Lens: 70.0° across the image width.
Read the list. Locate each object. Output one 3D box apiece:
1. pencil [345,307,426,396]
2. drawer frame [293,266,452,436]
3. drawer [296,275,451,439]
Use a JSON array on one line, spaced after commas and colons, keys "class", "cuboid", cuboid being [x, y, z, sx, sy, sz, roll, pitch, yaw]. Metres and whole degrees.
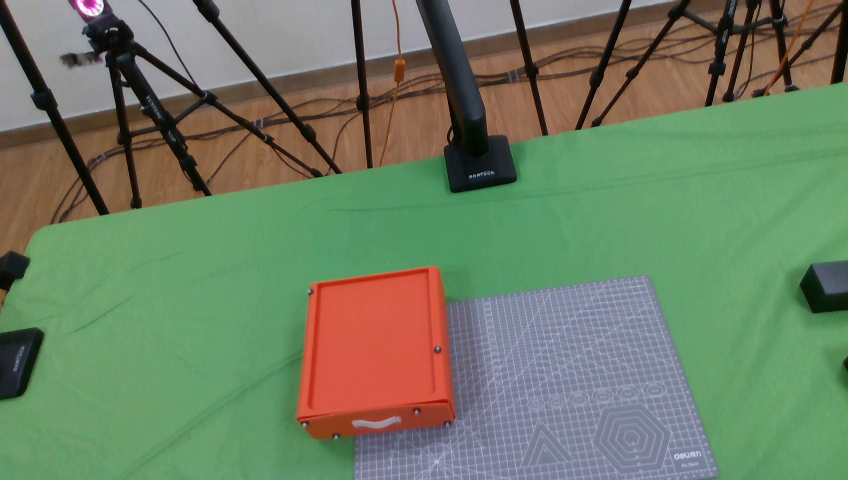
[{"class": "pencil", "cuboid": [-0.058, 0.160, 0.881, 0.012, 0.012, 0.192, -37, 57, -17]}, {"class": "drawer frame", "cuboid": [-0.071, 0.156, 0.853, 0.201, 0.083, 0.211, -9, 51, 5]}, {"class": "drawer", "cuboid": [-0.069, 0.160, 0.851, 0.194, 0.074, 0.209, -9, 51, 6]}]
